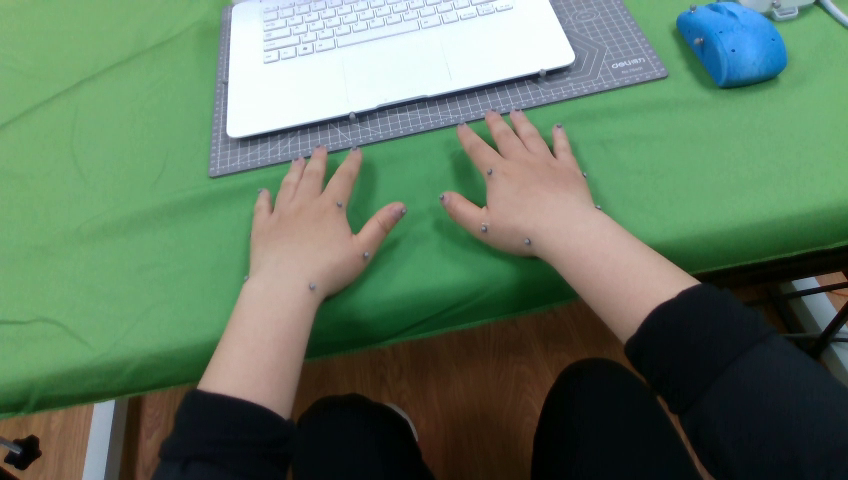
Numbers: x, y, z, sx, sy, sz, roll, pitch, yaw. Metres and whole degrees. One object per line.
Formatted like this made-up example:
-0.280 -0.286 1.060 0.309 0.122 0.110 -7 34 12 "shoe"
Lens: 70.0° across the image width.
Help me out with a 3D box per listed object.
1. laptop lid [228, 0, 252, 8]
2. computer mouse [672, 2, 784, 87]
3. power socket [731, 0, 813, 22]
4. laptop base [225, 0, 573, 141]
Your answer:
-0.082 -0.401 0.658 0.357 0.244 0.013 -14 40 2 "laptop lid"
0.286 -0.193 0.573 0.063 0.041 0.116 -13 48 4 "computer mouse"
0.345 -0.316 0.657 0.072 0.033 0.224 -9 53 4 "power socket"
-0.041 -0.221 0.664 0.354 0.023 0.233 -13 56 1 "laptop base"
